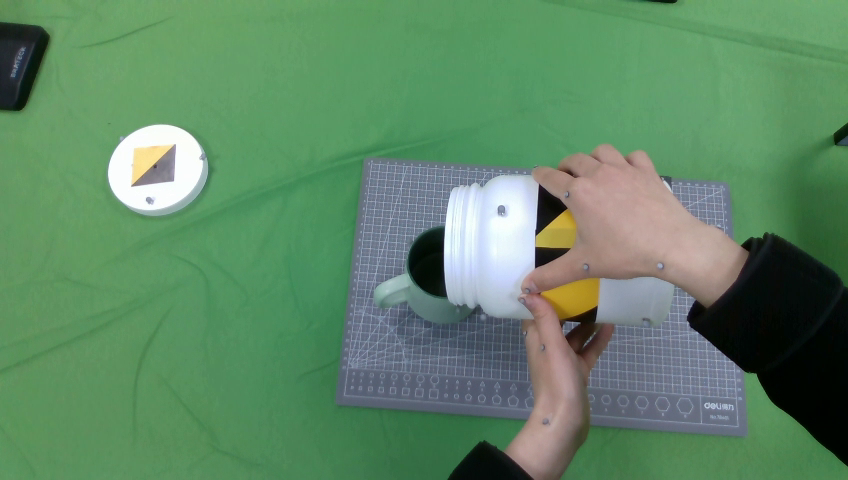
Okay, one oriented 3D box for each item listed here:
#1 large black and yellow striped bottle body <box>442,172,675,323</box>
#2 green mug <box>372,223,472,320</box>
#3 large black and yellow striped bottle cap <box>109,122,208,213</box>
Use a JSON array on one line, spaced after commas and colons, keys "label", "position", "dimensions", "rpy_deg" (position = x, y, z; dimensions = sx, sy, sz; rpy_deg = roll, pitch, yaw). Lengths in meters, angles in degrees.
[{"label": "large black and yellow striped bottle body", "position": [0.115, 0.005, 0.537], "dimensions": [0.183, 0.132, 0.130], "rpy_deg": [2, 72, 11]}, {"label": "green mug", "position": [0.004, 0.041, 0.651], "dimensions": [0.125, 0.105, 0.092], "rpy_deg": [-20, 74, -7]}, {"label": "large black and yellow striped bottle cap", "position": [-0.322, -0.090, 0.736], "dimensions": [0.115, 0.019, 0.114], "rpy_deg": [0, 72, -1]}]
